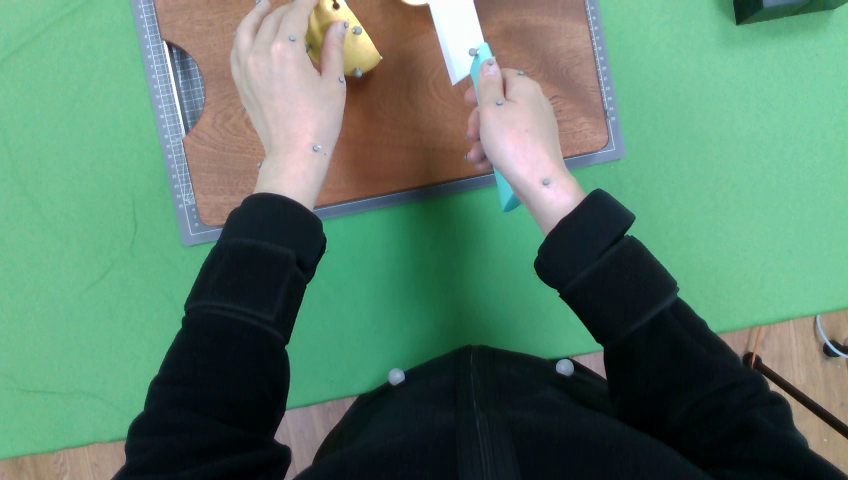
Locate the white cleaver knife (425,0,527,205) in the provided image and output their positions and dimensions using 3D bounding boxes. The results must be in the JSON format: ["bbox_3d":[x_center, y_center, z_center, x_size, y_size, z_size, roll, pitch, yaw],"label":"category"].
[{"bbox_3d":[0.032,-0.168,0.502,0.021,0.065,0.286,-14,90,-28],"label":"white cleaver knife"}]

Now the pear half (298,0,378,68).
[{"bbox_3d":[-0.081,-0.184,0.519,0.056,0.110,0.076,-41,84,2],"label":"pear half"}]
